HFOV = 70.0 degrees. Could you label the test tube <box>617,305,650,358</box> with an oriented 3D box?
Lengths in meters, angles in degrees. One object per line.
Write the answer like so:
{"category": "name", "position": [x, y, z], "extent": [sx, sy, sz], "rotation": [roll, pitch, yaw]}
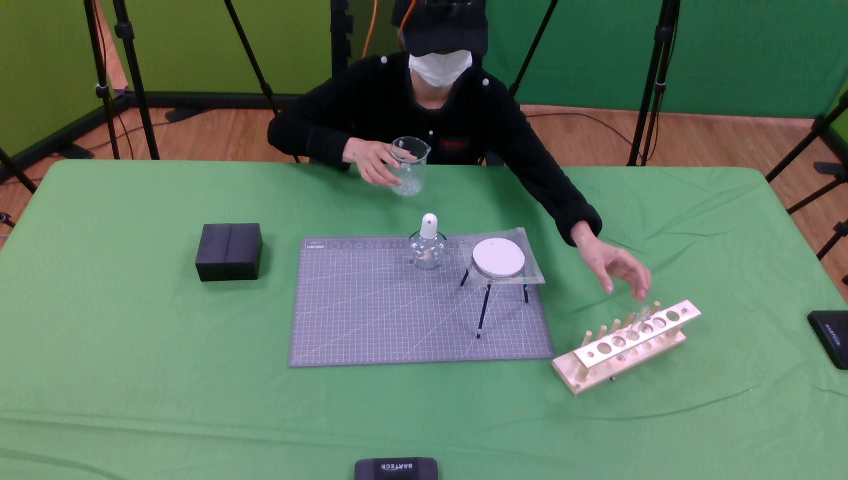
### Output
{"category": "test tube", "position": [0.333, 0.149, 0.967], "extent": [0.017, 0.151, 0.017], "rotation": [0, 52, 1]}

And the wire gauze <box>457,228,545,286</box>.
{"category": "wire gauze", "position": [0.126, 0.029, 1.006], "extent": [0.125, 0.011, 0.120], "rotation": [-4, 46, -10]}

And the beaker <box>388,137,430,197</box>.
{"category": "beaker", "position": [-0.032, -0.141, 1.191], "extent": [0.084, 0.101, 0.073], "rotation": [-12, 52, -17]}

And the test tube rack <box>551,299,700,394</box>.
{"category": "test tube rack", "position": [0.339, 0.166, 1.021], "extent": [0.242, 0.085, 0.066], "rotation": [-19, 50, -21]}

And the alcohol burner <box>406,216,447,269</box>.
{"category": "alcohol burner", "position": [0.006, -0.003, 1.134], "extent": [0.078, 0.120, 0.077], "rotation": [2, 48, -2]}

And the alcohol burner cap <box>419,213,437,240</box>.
{"category": "alcohol burner cap", "position": [0.009, -0.027, 1.109], "extent": [0.034, 0.048, 0.033], "rotation": [3, 44, -3]}

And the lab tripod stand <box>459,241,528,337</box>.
{"category": "lab tripod stand", "position": [0.122, 0.075, 1.054], "extent": [0.148, 0.132, 0.147], "rotation": [3, 44, -3]}
